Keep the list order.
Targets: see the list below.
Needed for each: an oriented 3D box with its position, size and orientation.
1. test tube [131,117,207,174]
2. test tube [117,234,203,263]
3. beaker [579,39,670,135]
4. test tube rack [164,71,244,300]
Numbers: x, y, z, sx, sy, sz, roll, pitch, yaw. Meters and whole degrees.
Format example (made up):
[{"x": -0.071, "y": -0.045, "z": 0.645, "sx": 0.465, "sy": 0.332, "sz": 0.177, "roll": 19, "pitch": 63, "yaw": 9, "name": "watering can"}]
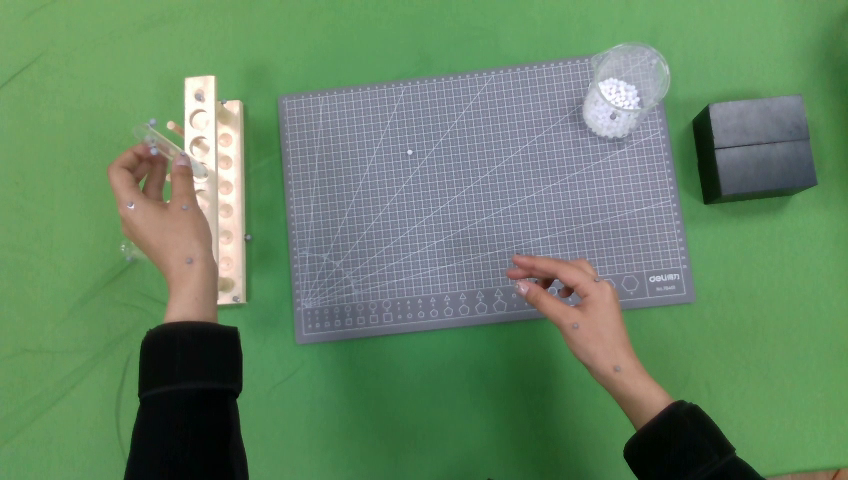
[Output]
[{"x": -0.237, "y": -0.086, "z": 0.574, "sx": 0.017, "sy": 0.150, "sz": 0.017, "roll": 0, "pitch": 83, "yaw": -1, "name": "test tube"}, {"x": -0.269, "y": 0.012, "z": 0.627, "sx": 0.017, "sy": 0.151, "sz": 0.017, "roll": -1, "pitch": 81, "yaw": 5, "name": "test tube"}, {"x": 0.208, "y": -0.162, "z": 0.656, "sx": 0.084, "sy": 0.100, "sz": 0.074, "roll": 31, "pitch": 85, "yaw": 9, "name": "beaker"}, {"x": -0.251, "y": -0.056, "z": 0.680, "sx": 0.067, "sy": 0.085, "sz": 0.241, "roll": -4, "pitch": 83, "yaw": 3, "name": "test tube rack"}]
